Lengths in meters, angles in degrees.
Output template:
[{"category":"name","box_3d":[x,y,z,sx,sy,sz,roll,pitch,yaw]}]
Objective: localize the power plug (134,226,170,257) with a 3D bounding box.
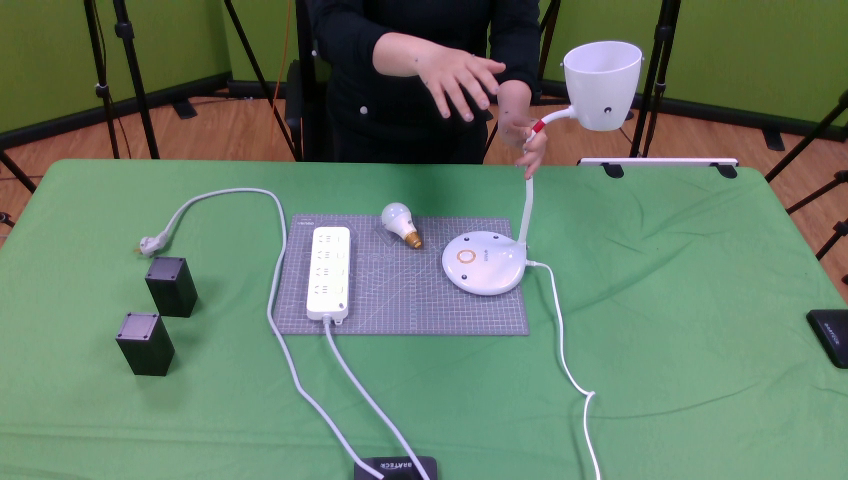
[{"category":"power plug","box_3d":[-0.515,0.005,1.153,0.052,0.035,0.072,-6,24,7]}]

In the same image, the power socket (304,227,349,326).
[{"category":"power socket","box_3d":[-0.177,0.059,1.115,0.072,0.033,0.225,-1,46,-4]}]

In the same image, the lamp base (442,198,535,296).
[{"category":"lamp base","box_3d":[0.130,-0.012,1.105,0.179,0.181,0.159,-1,46,-9]}]

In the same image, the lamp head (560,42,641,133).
[{"category":"lamp head","box_3d":[0.266,-0.226,0.926,0.112,0.123,0.112,-4,38,3]}]

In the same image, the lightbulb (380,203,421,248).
[{"category":"lightbulb","box_3d":[-0.043,-0.026,1.197,0.059,0.060,0.107,-28,69,-28]}]
